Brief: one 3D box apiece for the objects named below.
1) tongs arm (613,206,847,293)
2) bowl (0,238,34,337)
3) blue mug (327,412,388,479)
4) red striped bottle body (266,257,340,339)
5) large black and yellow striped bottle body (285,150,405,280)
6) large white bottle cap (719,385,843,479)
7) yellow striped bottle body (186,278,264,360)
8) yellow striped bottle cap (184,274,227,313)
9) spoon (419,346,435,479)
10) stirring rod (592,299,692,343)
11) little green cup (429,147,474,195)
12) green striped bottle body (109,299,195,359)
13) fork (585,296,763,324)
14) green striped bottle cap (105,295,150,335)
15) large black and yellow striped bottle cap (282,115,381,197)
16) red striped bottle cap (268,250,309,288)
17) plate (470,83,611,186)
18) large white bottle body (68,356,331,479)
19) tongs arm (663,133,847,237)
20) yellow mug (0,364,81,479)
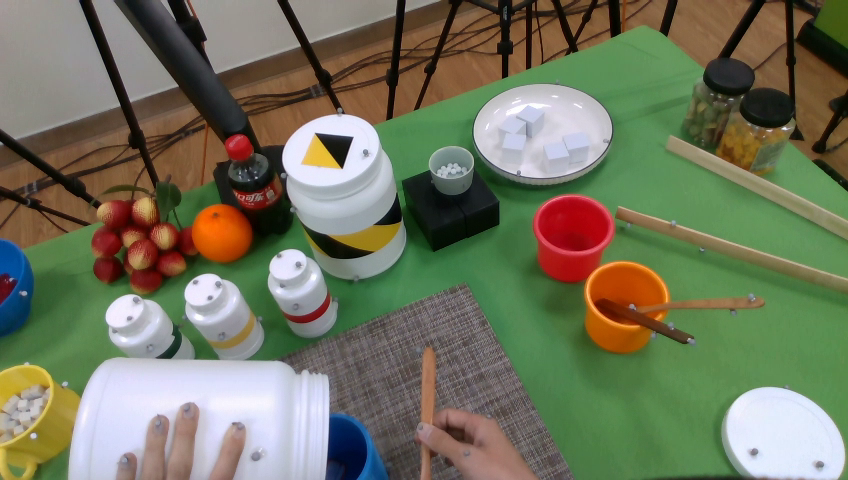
[{"bbox_3d":[0.433,0.014,0.757,0.382,0.027,0.050,22,55,21],"label":"tongs arm"},{"bbox_3d":[-0.581,0.079,0.801,0.151,0.077,0.150,-3,53,4],"label":"bowl"},{"bbox_3d":[-0.093,0.241,0.597,0.081,0.107,0.116,30,61,26],"label":"blue mug"},{"bbox_3d":[-0.148,0.065,0.735,0.063,0.121,0.062,-7,51,9],"label":"red striped bottle body"},{"bbox_3d":[-0.100,-0.049,0.774,0.131,0.186,0.129,-3,53,5],"label":"large black and yellow striped bottle body"},{"bbox_3d":[0.370,0.206,0.630,0.115,0.018,0.113,-3,52,4],"label":"large white bottle cap"},{"bbox_3d":[-0.240,0.091,0.725,0.063,0.121,0.062,-4,52,5],"label":"yellow striped bottle body"},{"bbox_3d":[-0.246,0.060,0.683,0.044,0.019,0.044,-1,48,2],"label":"yellow striped bottle cap"},{"bbox_3d":[0.002,0.192,0.546,0.041,0.022,0.192,0,74,6],"label":"spoon"},{"bbox_3d":[0.232,0.086,0.663,0.014,0.006,0.175,-19,10,-11],"label":"stirring rod"},{"bbox_3d":[0.037,-0.092,0.818,0.061,0.039,0.061,-2,50,3],"label":"little green cup"},{"bbox_3d":[-0.324,0.114,0.717,0.063,0.120,0.062,-3,52,4],"label":"green striped bottle body"},{"bbox_3d":[0.262,0.074,0.660,0.206,0.019,0.028,-18,35,54],"label":"fork"},{"bbox_3d":[-0.330,0.083,0.675,0.044,0.020,0.044,-3,51,4],"label":"green striped bottle cap"},{"bbox_3d":[-0.107,-0.100,0.705,0.115,0.019,0.114,-4,55,7],"label":"large black and yellow striped bottle cap"},{"bbox_3d":[-0.155,0.033,0.693,0.044,0.018,0.044,-1,50,2],"label":"red striped bottle cap"},{"bbox_3d":[0.174,-0.157,0.916,0.209,0.038,0.207,-3,53,4],"label":"plate"},{"bbox_3d":[-0.175,0.165,0.506,0.185,0.131,0.129,4,51,-13],"label":"large white bottle body"},{"bbox_3d":[0.487,-0.046,0.799,0.028,0.028,0.384,-36,57,-28],"label":"tongs arm"},{"bbox_3d":[-0.459,0.215,0.691,0.100,0.064,0.129,-13,53,-4],"label":"yellow mug"}]
